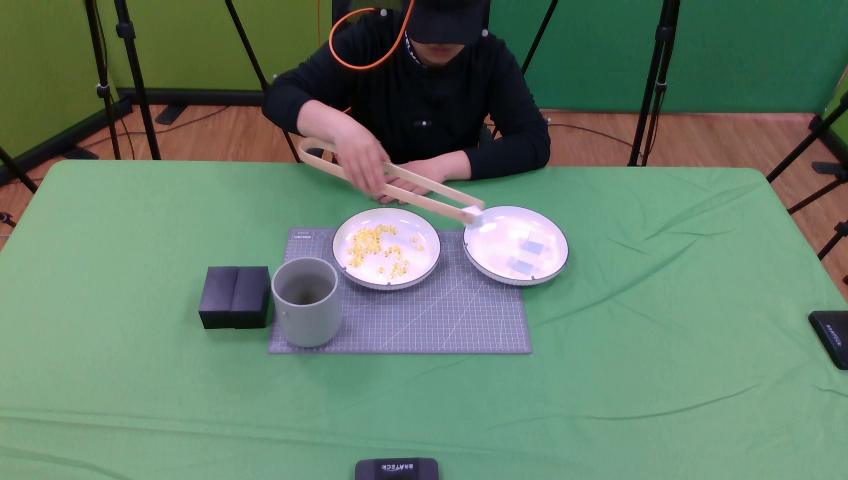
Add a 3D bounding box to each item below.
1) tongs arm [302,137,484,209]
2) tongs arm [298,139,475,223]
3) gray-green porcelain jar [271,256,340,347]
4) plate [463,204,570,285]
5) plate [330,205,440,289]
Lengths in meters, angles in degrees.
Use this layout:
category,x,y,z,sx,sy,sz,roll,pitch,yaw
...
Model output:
category,x,y,z,sx,sy,sz,roll,pitch,yaw
tongs arm,-0.065,-0.132,1.174,0.386,0.028,0.028,21,52,14
tongs arm,-0.077,-0.115,1.156,0.384,0.026,0.050,19,48,12
gray-green porcelain jar,-0.193,0.107,1.004,0.106,0.127,0.105,2,46,-2
plate,0.178,0.012,1.184,0.209,0.038,0.208,3,46,-3
plate,-0.074,0.017,1.160,0.208,0.039,0.206,2,46,-2
